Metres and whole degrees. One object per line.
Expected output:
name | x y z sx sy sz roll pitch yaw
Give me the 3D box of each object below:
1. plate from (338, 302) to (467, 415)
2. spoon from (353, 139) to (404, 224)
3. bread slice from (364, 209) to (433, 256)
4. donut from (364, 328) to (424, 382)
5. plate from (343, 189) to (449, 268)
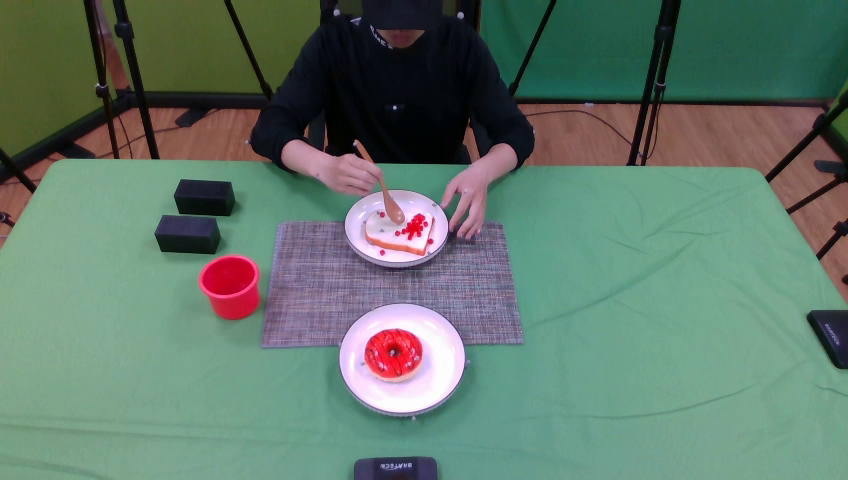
plate | -0.035 0.194 0.992 0.208 0.039 0.206 2 48 -2
spoon | -0.084 -0.110 1.143 0.021 0.195 0.041 -3 38 31
bread slice | -0.054 -0.020 1.199 0.131 0.019 0.104 11 47 3
donut | -0.049 0.185 0.984 0.099 0.048 0.098 1 45 -1
plate | -0.056 -0.019 1.195 0.209 0.038 0.208 3 46 -2
